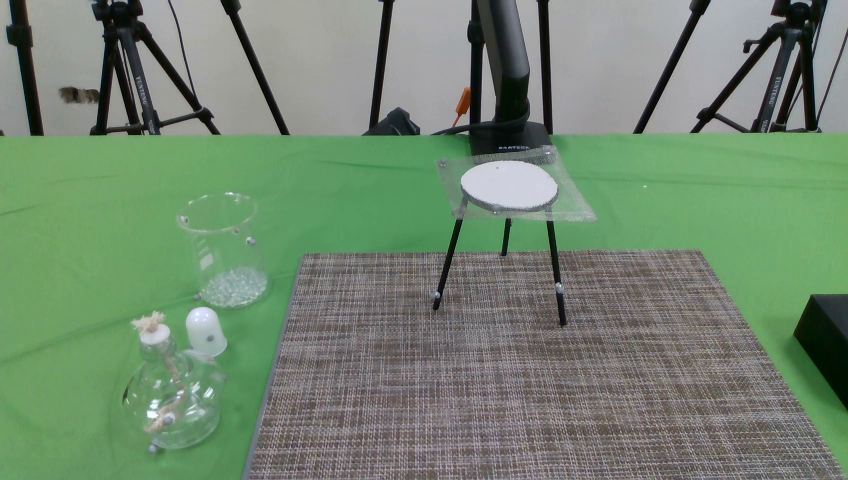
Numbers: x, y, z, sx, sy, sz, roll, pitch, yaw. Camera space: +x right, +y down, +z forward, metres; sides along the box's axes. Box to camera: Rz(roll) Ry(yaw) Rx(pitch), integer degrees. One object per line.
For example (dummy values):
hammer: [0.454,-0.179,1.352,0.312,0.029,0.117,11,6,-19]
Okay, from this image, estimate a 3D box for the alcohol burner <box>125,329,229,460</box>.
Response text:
alcohol burner: [-0.192,0.112,0.465,0.078,0.120,0.077,1,36,0]

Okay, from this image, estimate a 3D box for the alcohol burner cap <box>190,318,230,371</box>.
alcohol burner cap: [-0.199,0.093,0.557,0.034,0.048,0.033,0,35,0]

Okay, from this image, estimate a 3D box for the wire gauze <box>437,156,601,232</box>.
wire gauze: [0.080,-0.042,0.545,0.125,0.011,0.120,-3,35,-6]

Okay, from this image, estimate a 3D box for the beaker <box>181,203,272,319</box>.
beaker: [-0.194,0.022,0.611,0.074,0.101,0.083,8,35,11]

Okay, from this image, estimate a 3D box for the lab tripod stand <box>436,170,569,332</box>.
lab tripod stand: [0.084,0.011,0.588,0.148,0.132,0.147,1,34,-1]
